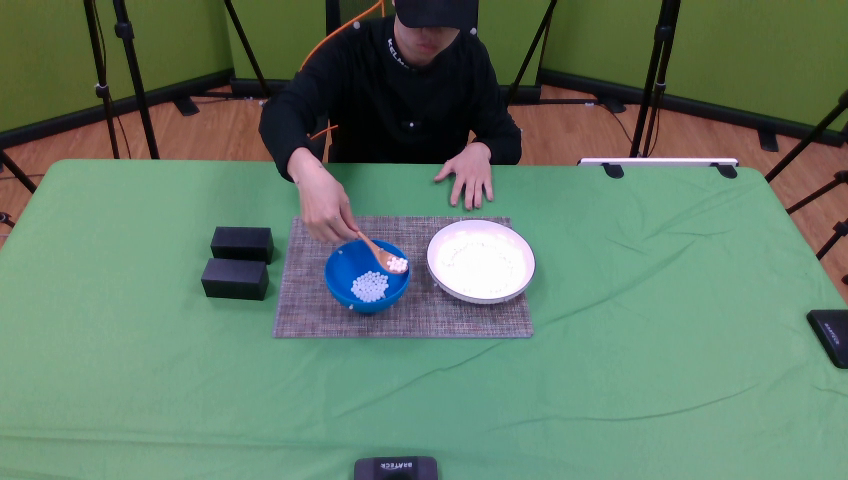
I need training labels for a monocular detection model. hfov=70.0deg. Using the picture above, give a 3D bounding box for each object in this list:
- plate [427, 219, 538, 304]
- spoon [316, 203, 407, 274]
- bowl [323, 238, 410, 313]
[{"bbox_3d":[0.109,0.044,1.149,0.208,0.039,0.206,2,46,-2],"label":"plate"},{"bbox_3d":[-0.109,-0.005,1.050,0.193,0.022,0.041,41,45,0],"label":"spoon"},{"bbox_3d":[-0.101,0.077,1.073,0.151,0.077,0.150,2,46,-2],"label":"bowl"}]
